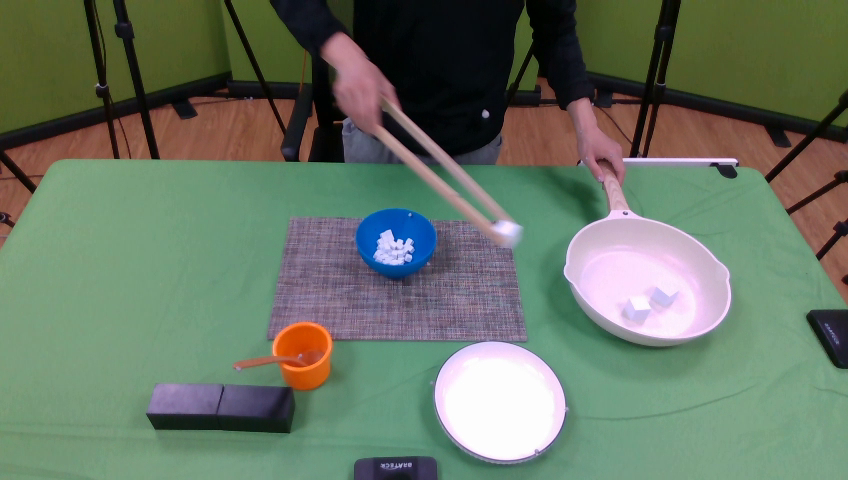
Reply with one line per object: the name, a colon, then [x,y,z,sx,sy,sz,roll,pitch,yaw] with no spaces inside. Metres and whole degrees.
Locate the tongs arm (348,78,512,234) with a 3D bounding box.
tongs arm: [0.011,-0.149,1.058,0.387,0.028,0.028,45,64,6]

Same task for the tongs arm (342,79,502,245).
tongs arm: [-0.004,-0.136,1.046,0.384,0.026,0.050,41,60,4]

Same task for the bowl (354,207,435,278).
bowl: [-0.055,0.018,1.132,0.151,0.077,0.150,2,46,-2]

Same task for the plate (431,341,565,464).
plate: [0.114,0.255,0.951,0.208,0.039,0.206,3,46,-2]

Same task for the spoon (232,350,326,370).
spoon: [-0.216,0.182,0.919,0.041,0.194,0.021,44,102,27]

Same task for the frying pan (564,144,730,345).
frying pan: [0.396,-0.008,1.179,0.307,0.103,0.484,0,55,-5]
